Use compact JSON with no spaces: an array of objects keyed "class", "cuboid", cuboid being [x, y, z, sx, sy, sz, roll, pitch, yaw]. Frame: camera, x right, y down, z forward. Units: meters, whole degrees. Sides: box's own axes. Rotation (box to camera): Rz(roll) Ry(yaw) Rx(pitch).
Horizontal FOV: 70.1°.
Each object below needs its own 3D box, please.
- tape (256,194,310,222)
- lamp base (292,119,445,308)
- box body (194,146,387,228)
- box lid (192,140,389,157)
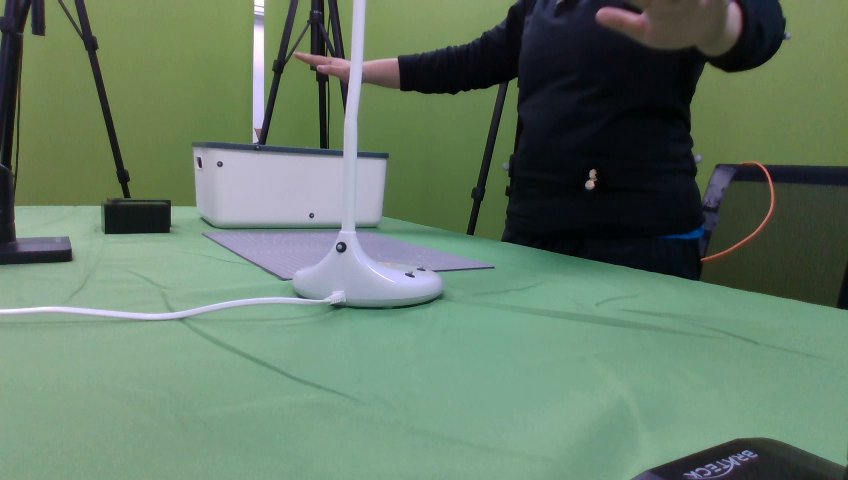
[{"class":"tape","cuboid":[-0.301,-0.069,1.294,0.117,0.052,0.117,2,7,0]},{"class":"lamp base","cuboid":[-0.056,-0.030,0.616,0.160,0.180,0.179,4,10,8]},{"class":"box body","cuboid":[-0.288,-0.118,1.291,0.366,0.160,0.253,-1,8,-28]},{"class":"box lid","cuboid":[-0.287,-0.191,1.281,0.373,0.015,0.262,0,8,-28]}]
